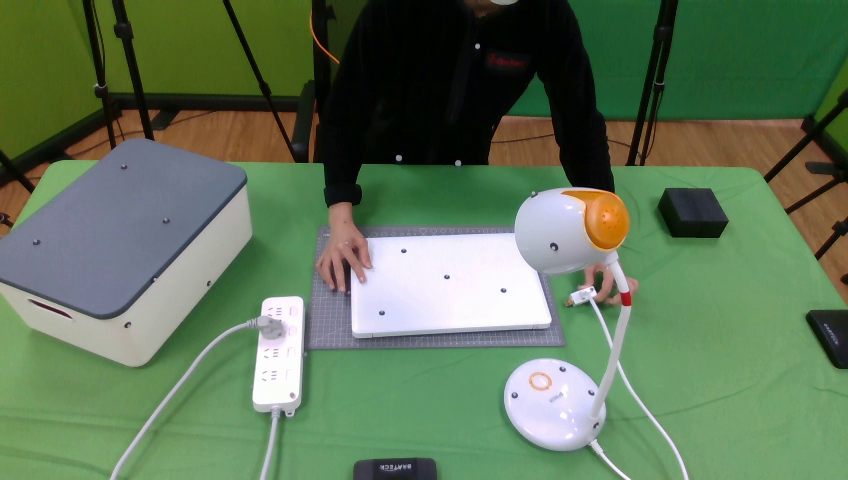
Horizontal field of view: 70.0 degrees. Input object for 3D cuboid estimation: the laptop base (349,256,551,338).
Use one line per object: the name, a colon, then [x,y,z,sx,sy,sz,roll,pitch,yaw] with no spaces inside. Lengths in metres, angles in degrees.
laptop base: [0.040,0.080,1.126,0.355,0.023,0.234,-2,43,-6]

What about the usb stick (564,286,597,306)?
usb stick: [0.285,0.104,1.110,0.059,0.027,0.021,-21,72,2]

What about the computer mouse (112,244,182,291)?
computer mouse: [-0.493,0.046,1.078,0.117,0.041,0.062,24,41,13]

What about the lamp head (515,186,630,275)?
lamp head: [0.188,-0.013,0.728,0.112,0.112,0.122,-24,9,-25]

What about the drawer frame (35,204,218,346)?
drawer frame: [-0.505,0.054,1.052,0.201,0.083,0.212,14,52,12]

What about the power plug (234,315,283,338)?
power plug: [-0.269,0.144,1.000,0.072,0.053,0.035,4,47,2]

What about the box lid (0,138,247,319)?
box lid: [-0.494,-0.037,0.994,0.263,0.015,0.370,17,46,12]

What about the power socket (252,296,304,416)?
power socket: [-0.238,0.182,0.997,0.072,0.033,0.225,-3,47,-5]

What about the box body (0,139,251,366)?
box body: [-0.496,0.013,1.048,0.254,0.161,0.362,17,47,12]

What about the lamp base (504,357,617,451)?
lamp base: [0.220,0.211,0.903,0.160,0.181,0.178,-32,59,-30]

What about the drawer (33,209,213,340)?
drawer: [-0.509,0.054,1.046,0.194,0.073,0.211,15,43,11]

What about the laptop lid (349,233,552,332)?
laptop lid: [0.040,0.071,1.119,0.357,0.013,0.240,-1,44,-5]
